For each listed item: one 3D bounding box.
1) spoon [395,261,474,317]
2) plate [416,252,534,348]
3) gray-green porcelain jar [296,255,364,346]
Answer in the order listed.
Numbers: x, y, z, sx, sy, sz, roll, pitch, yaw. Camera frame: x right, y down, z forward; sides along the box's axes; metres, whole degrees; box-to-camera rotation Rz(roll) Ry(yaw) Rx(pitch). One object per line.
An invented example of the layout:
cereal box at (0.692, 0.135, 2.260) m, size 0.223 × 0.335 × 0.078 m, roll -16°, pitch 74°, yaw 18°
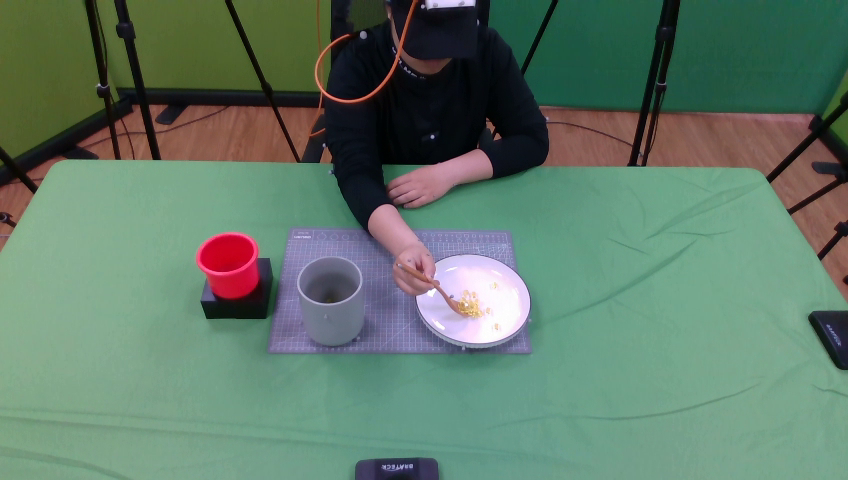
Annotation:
spoon at (0.019, 0.080, 1.009) m, size 0.021 × 0.195 × 0.041 m, roll -42°, pitch 36°, yaw 10°
plate at (0.090, 0.109, 1.084) m, size 0.208 × 0.039 × 0.206 m, roll 2°, pitch 46°, yaw -2°
gray-green porcelain jar at (-0.153, 0.106, 1.008) m, size 0.106 × 0.127 × 0.105 m, roll 2°, pitch 46°, yaw -2°
